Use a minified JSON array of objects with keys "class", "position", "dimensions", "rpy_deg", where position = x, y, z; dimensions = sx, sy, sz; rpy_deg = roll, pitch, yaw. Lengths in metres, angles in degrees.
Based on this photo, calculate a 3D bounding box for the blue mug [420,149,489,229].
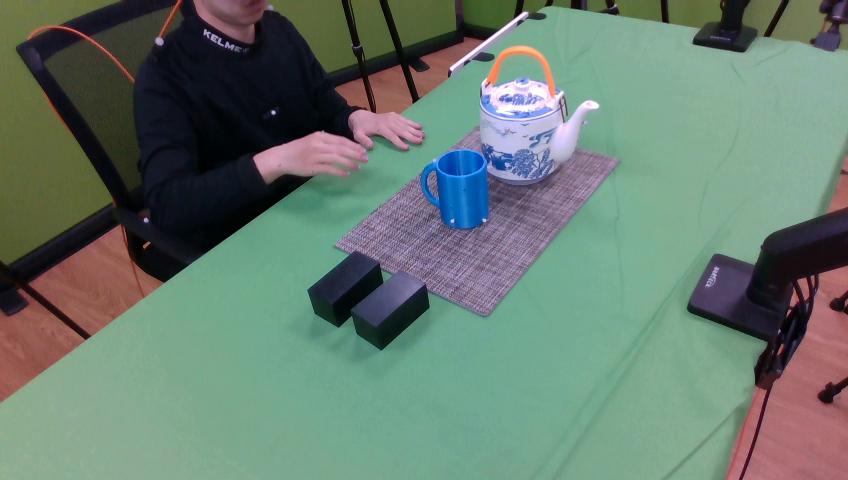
[{"class":"blue mug","position":[0.048,-0.085,0.991],"dimensions":[0.116,0.106,0.082],"rpy_deg":[9,43,19]}]

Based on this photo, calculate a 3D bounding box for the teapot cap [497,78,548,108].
[{"class":"teapot cap","position":[0.164,-0.246,1.009],"dimensions":[0.085,0.044,0.084],"rpy_deg":[-4,44,4]}]

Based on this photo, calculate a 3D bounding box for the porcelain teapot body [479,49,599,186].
[{"class":"porcelain teapot body","position":[0.192,-0.208,1.023],"dimensions":[0.204,0.226,0.145],"rpy_deg":[17,46,25]}]
